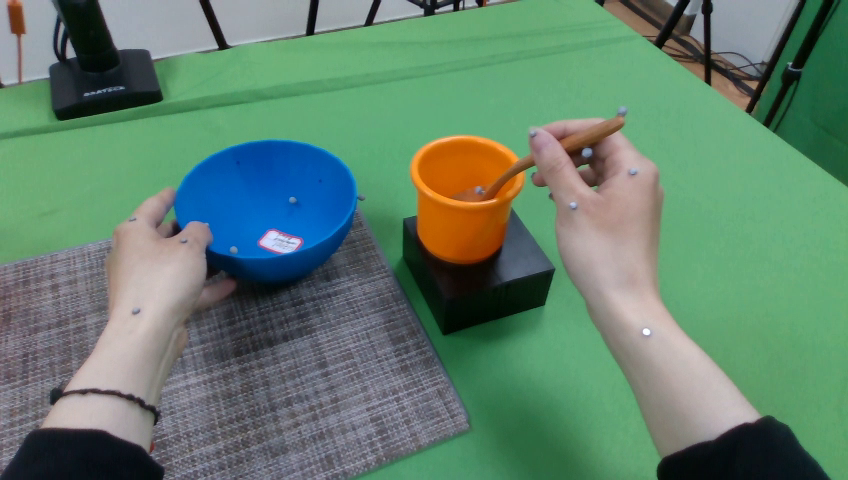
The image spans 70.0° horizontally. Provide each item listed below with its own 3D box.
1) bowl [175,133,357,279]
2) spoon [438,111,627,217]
[{"bbox_3d":[-0.133,-0.018,0.539,0.151,0.077,0.150,2,47,-2],"label":"bowl"},{"bbox_3d":[0.069,-0.053,0.446,0.022,0.193,0.041,37,61,-16],"label":"spoon"}]
